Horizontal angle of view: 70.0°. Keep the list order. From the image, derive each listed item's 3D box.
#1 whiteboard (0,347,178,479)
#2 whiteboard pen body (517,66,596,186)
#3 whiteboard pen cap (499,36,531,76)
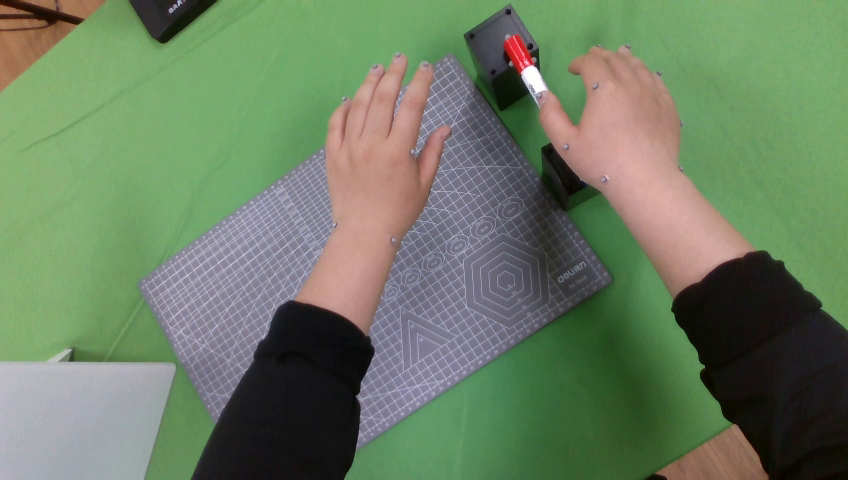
[{"bbox_3d":[-0.445,0.203,0.604,0.143,0.308,0.217,17,89,32],"label":"whiteboard"},{"bbox_3d":[0.109,-0.109,0.528,0.017,0.017,0.140,-29,80,8],"label":"whiteboard pen body"},{"bbox_3d":[0.081,-0.163,0.535,0.017,0.017,0.032,-29,82,8],"label":"whiteboard pen cap"}]
